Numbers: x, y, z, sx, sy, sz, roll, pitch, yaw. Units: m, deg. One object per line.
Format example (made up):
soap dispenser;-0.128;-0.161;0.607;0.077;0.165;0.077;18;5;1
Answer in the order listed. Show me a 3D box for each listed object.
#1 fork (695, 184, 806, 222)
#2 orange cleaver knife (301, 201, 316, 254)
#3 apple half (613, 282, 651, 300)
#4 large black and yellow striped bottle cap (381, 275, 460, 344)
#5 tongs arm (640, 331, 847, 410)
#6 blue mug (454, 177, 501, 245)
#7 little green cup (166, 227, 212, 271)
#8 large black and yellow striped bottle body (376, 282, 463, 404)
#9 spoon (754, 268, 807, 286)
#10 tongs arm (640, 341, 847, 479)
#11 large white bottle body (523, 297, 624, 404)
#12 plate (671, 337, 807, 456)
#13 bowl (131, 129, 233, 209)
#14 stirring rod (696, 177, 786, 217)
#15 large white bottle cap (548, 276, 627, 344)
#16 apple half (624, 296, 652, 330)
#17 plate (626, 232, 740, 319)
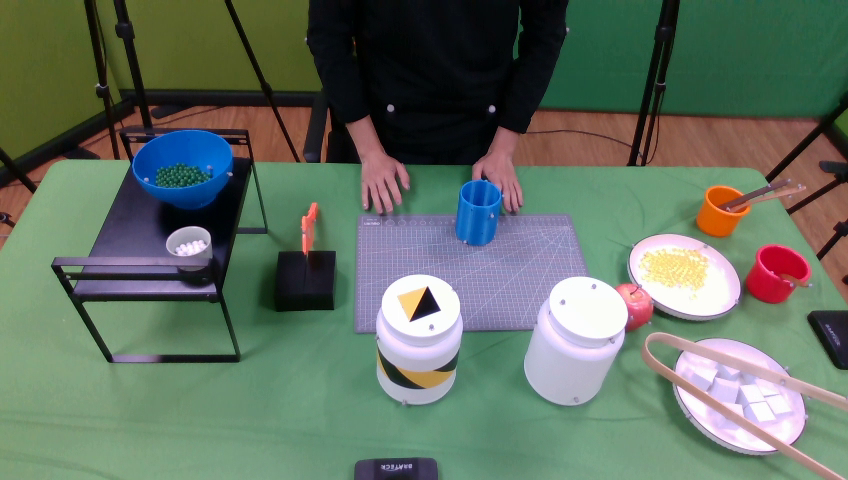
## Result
fork;0.658;-0.074;1.230;0.207;0.019;0.028;-24;33;36
orange cleaver knife;-0.221;-0.027;1.160;0.012;0.077;0.210;-1;15;-4
apple half;0.356;0.109;1.086;0.081;0.075;0.053;-14;44;-12
large black and yellow striped bottle cap;-0.005;0.098;0.875;0.115;0.019;0.114;2;45;-2
tongs arm;0.543;0.226;0.969;0.384;0.026;0.050;22;52;13
blue mug;0.106;-0.067;1.208;0.082;0.106;0.116;6;46;1
little green cup;-0.344;0.014;0.895;0.061;0.039;0.061;3;46;-3
large black and yellow striped bottle body;-0.010;0.155;0.937;0.131;0.185;0.130;2;47;-2
spoon;0.647;0.065;1.100;0.041;0.021;0.194;15;3;10
tongs arm;0.500;0.278;0.919;0.386;0.028;0.028;34;59;22
large white bottle body;0.235;0.159;0.952;0.131;0.185;0.130;2;47;-2
plate;0.503;0.254;0.984;0.208;0.039;0.206;2;46;-2
bowl;-0.381;-0.103;0.978;0.151;0.077;0.150;2;46;-2
stirring rod;0.648;-0.087;1.244;0.176;0.006;0.014;-25;50;29
large white bottle cap;0.240;0.100;0.890;0.115;0.018;0.114;3;47;-3
apple half;0.368;0.135;1.060;0.081;0.081;0.032;-11;43;-15
plate;0.488;0.070;1.157;0.209;0.038;0.208;3;46;-3
